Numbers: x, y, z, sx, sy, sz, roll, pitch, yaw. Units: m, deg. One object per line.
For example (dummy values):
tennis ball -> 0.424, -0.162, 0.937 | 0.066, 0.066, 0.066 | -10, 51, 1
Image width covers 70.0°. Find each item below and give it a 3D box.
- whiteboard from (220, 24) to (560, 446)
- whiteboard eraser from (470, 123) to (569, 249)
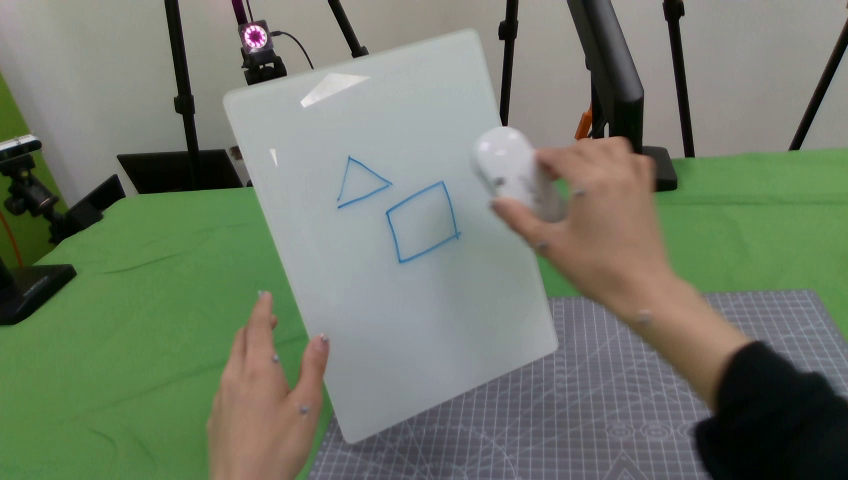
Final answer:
whiteboard -> -0.032, -0.012, 0.573 | 0.217, 0.306, 0.143 | -21, 13, -15
whiteboard eraser -> 0.069, -0.038, 0.435 | 0.041, 0.102, 0.019 | -42, 15, -23
